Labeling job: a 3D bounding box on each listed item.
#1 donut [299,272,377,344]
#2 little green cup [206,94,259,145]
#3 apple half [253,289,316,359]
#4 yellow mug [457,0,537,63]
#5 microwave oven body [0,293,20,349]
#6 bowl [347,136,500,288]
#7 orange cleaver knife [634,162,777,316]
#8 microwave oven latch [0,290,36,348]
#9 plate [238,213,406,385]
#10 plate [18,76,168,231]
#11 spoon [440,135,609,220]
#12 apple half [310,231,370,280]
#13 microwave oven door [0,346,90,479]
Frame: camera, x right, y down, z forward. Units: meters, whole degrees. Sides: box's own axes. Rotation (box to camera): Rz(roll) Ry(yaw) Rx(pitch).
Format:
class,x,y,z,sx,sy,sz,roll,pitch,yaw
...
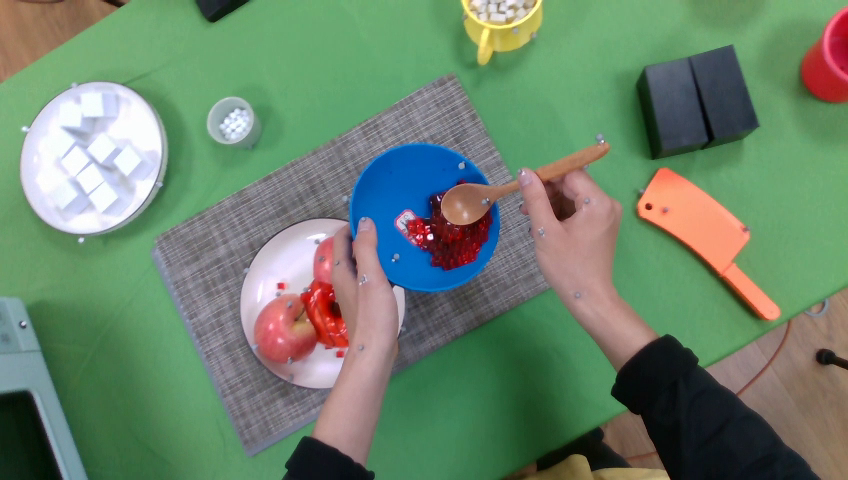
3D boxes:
class,x,y,z,sx,sy,sz,roll,pitch,yaw
donut,-0.104,0.078,0.731,0.099,0.048,0.099,0,88,8
little green cup,-0.247,-0.153,0.789,0.061,0.039,0.061,-1,84,8
apple half,-0.173,0.104,0.717,0.074,0.053,0.080,-34,76,44
yellow mug,0.085,-0.281,0.743,0.099,0.064,0.130,18,88,9
microwave oven body,-0.601,0.315,0.670,0.326,0.261,0.440,-27,82,3
bowl,-0.007,-0.020,0.614,0.152,0.077,0.150,3,77,-13
orange cleaver knife,0.335,-0.004,0.704,0.077,0.012,0.210,-44,79,-4
microwave oven latch,-0.533,0.104,0.781,0.030,0.029,0.079,-25,82,4
plate,-0.123,0.071,0.745,0.209,0.038,0.208,-1,84,8
plate,-0.435,-0.113,0.810,0.207,0.039,0.207,-1,84,8
spoon,0.083,-0.054,0.546,0.021,0.193,0.042,-34,100,-39
apple half,-0.100,0.010,0.722,0.081,0.033,0.080,-5,42,5
microwave oven door,-0.453,0.287,0.648,0.039,0.245,0.354,-27,81,4
